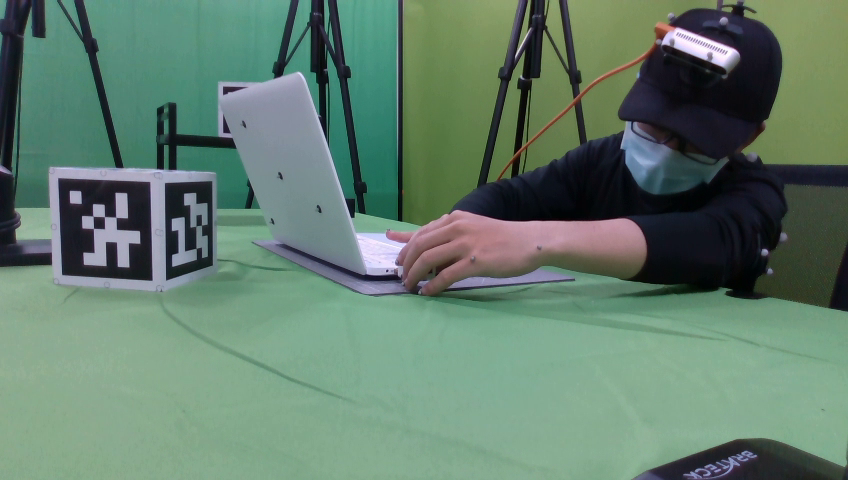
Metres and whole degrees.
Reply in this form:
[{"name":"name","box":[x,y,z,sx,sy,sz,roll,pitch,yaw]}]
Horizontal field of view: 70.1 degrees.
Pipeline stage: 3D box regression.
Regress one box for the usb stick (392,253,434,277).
[{"name":"usb stick","box":[-0.015,0.028,0.687,0.021,0.027,0.059,-9,3,-40]}]

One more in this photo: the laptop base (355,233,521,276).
[{"name":"laptop base","box":[-0.056,0.018,0.897,0.237,0.023,0.352,2,6,-32]}]

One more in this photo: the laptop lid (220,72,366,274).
[{"name":"laptop lid","box":[-0.188,-0.087,0.800,0.013,0.242,0.355,-26,21,-26]}]
